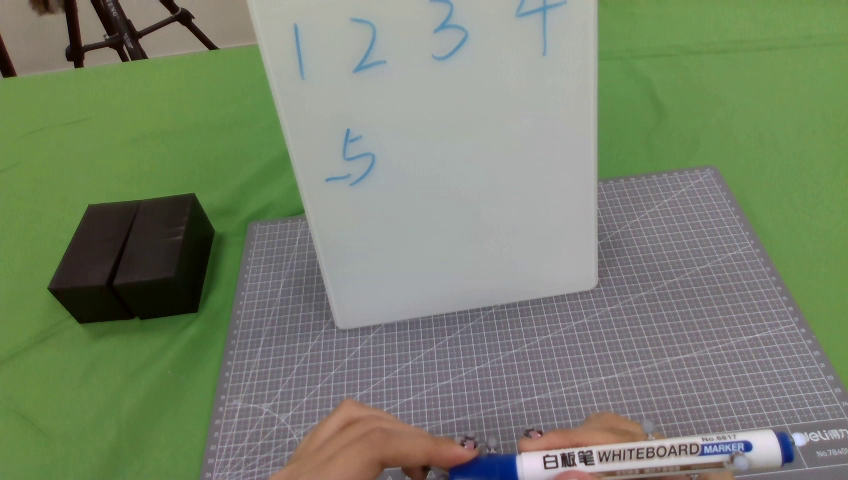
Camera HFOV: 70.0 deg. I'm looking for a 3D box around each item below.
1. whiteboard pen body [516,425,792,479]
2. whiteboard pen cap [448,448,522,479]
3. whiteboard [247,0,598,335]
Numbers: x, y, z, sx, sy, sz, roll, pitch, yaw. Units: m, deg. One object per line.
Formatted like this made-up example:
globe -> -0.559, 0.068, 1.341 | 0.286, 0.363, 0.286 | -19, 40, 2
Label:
whiteboard pen body -> 0.088, 0.097, 0.270 | 0.140, 0.017, 0.017 | -9, 47, 9
whiteboard pen cap -> 0.028, 0.106, 0.280 | 0.033, 0.018, 0.018 | -6, 48, 6
whiteboard -> 0.009, -0.105, 0.475 | 0.217, 0.308, 0.142 | -9, 29, 1
